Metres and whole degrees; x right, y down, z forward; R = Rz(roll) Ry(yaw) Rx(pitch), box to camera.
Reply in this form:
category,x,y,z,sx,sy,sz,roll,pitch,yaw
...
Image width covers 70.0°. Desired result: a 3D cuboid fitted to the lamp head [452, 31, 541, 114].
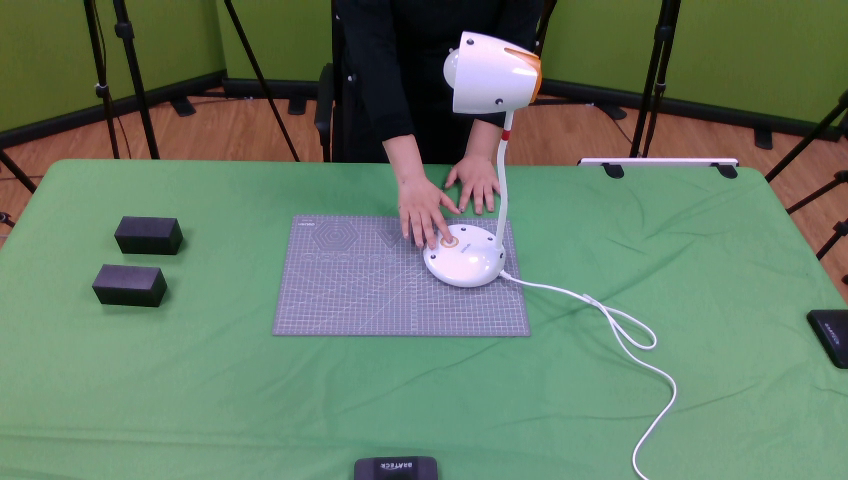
category,x,y,z,sx,sy,sz,roll,pitch,yaw
lamp head,0.102,-0.228,0.858,0.123,0.113,0.112,11,46,0

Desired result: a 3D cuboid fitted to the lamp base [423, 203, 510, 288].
category,x,y,z,sx,sy,sz,roll,pitch,yaw
lamp base,0.092,-0.021,1.111,0.179,0.181,0.160,23,49,14
